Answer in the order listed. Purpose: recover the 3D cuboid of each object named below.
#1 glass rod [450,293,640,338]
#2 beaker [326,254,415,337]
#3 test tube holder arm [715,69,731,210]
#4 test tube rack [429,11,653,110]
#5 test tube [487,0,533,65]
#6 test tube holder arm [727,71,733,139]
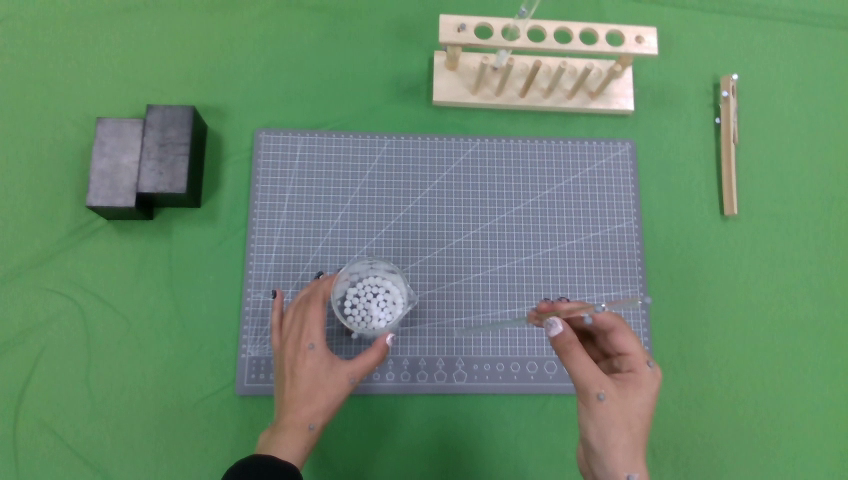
[{"bbox_3d":[0.084,0.062,0.480,0.008,0.199,0.008,13,68,-35],"label":"glass rod"},{"bbox_3d":[-0.053,0.060,0.616,0.084,0.100,0.073,5,77,-3],"label":"beaker"},{"bbox_3d":[0.361,-0.122,0.729,0.013,0.015,0.177,14,75,-31],"label":"test tube holder arm"},{"bbox_3d":[0.129,-0.204,0.700,0.242,0.085,0.066,2,76,-4],"label":"test tube rack"},{"bbox_3d":[0.095,-0.233,0.654,0.017,0.150,0.017,3,74,-10],"label":"test tube"},{"bbox_3d":[0.370,-0.165,0.742,0.010,0.015,0.087,14,75,-30],"label":"test tube holder arm"}]
